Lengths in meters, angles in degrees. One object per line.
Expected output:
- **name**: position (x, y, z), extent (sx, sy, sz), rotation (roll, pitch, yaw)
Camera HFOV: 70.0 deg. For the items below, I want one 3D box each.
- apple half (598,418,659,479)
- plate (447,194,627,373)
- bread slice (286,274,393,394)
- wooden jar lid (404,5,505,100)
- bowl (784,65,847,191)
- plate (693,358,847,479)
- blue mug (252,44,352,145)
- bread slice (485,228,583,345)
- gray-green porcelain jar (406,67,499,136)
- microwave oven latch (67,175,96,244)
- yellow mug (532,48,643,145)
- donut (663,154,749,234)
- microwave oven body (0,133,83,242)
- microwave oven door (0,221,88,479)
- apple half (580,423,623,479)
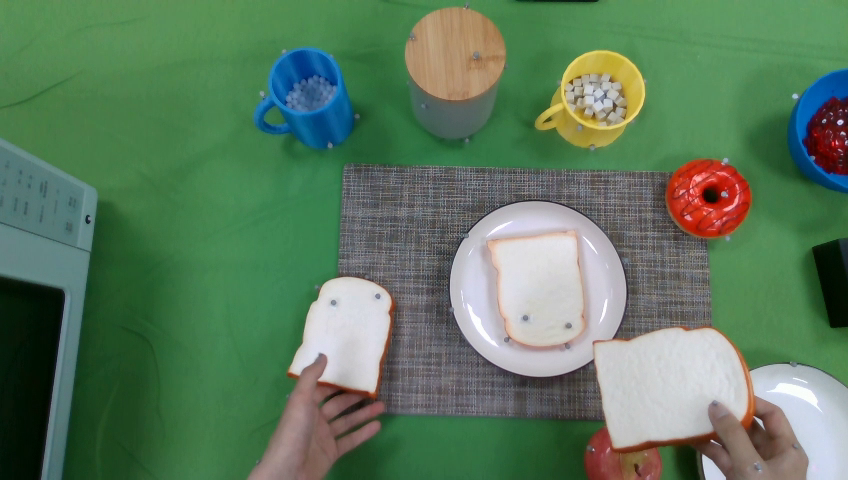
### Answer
- **apple half**: position (0.226, 0.236, 0.666), extent (0.053, 0.075, 0.080), rotation (-7, 77, -5)
- **plate**: position (0.130, 0.050, 0.714), extent (0.208, 0.039, 0.207), rotation (0, 80, 0)
- **bread slice**: position (-0.094, 0.104, 0.708), extent (0.105, 0.019, 0.131), rotation (13, 74, 2)
- **wooden jar lid**: position (0.032, -0.200, 0.654), extent (0.108, 0.021, 0.108), rotation (0, 78, 1)
- **bowl**: position (0.497, -0.123, 0.727), extent (0.151, 0.077, 0.151), rotation (0, 80, 1)
- **plate**: position (0.404, 0.238, 0.682), extent (0.209, 0.038, 0.208), rotation (0, 80, 1)
- **blue mug**: position (-0.148, -0.163, 0.721), extent (0.116, 0.106, 0.082), rotation (-24, 80, -4)
- **bread slice**: position (0.136, 0.055, 0.714), extent (0.107, 0.018, 0.133), rotation (-9, 79, -1)
- **gray-green porcelain jar**: position (0.033, -0.188, 0.715), extent (0.106, 0.127, 0.105), rotation (0, 79, 0)
- **microwave oven latch**: position (-0.411, -0.036, 0.714), extent (0.030, 0.029, 0.079), rotation (5, 80, 1)
- **yellow mug**: position (0.194, -0.168, 0.742), extent (0.131, 0.064, 0.099), rotation (-22, 80, -3)
- **donut**: position (0.337, -0.055, 0.728), extent (0.099, 0.048, 0.098), rotation (0, 80, 1)
- **microwave oven body**: position (-0.565, 0.115, 0.590), extent (0.326, 0.261, 0.440), rotation (2, 80, 0)
- **microwave oven door**: position (-0.422, 0.160, 0.576), extent (0.039, 0.244, 0.354), rotation (2, 79, 1)
- **apple half**: position (0.187, 0.242, 0.664), extent (0.033, 0.081, 0.081), rotation (-6, 79, -5)
